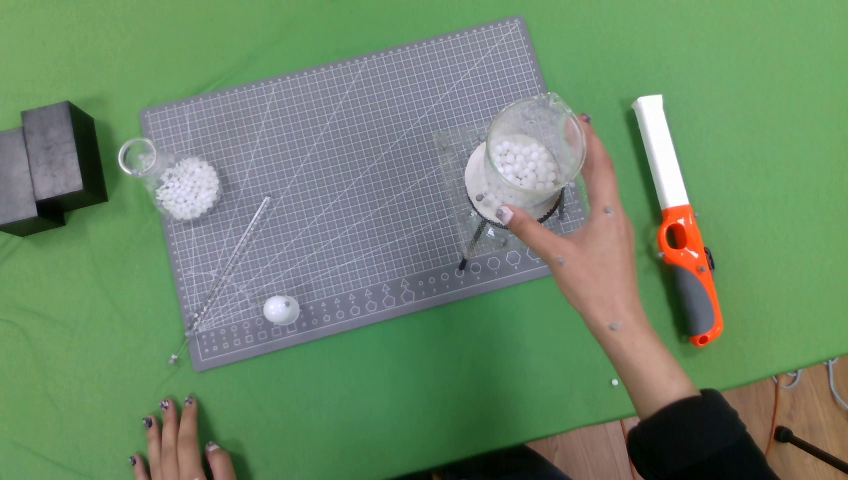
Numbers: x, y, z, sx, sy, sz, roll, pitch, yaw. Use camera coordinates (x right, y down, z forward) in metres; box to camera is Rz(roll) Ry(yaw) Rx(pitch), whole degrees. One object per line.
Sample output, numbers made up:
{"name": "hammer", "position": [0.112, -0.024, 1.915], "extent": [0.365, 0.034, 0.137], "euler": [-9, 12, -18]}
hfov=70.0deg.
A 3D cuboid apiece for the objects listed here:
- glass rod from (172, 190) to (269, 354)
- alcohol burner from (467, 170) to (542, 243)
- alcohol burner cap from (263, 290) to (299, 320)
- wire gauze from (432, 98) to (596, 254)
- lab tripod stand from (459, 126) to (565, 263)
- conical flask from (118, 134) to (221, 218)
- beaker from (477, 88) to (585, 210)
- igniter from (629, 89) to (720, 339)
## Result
{"name": "glass rod", "position": [-0.218, 0.032, 0.650], "extent": [0.008, 0.008, 0.199], "euler": [27, 82, 4]}
{"name": "alcohol burner", "position": [0.083, -0.037, 0.612], "extent": [0.078, 0.119, 0.077], "euler": [0, 82, 2]}
{"name": "alcohol burner cap", "position": [-0.151, 0.067, 0.630], "extent": [0.034, 0.048, 0.033], "euler": [0, 81, -1]}
{"name": "wire gauze", "position": [0.080, -0.057, 0.538], "extent": [0.125, 0.011, 0.121], "euler": [-12, 85, -4]}
{"name": "lab tripod stand", "position": [0.080, -0.045, 0.603], "extent": [0.148, 0.132, 0.148], "euler": [0, 83, -1]}
{"name": "conical flask", "position": [-0.259, -0.070, 0.608], "extent": [0.075, 0.122, 0.075], "euler": [0, 81, 0]}
{"name": "beaker", "position": [0.082, -0.069, 0.491], "extent": [0.074, 0.100, 0.084], "euler": [20, 82, 2]}
{"name": "igniter", "position": [0.272, -0.032, 0.659], "extent": [0.057, 0.025, 0.275], "euler": [-10, 82, -13]}
